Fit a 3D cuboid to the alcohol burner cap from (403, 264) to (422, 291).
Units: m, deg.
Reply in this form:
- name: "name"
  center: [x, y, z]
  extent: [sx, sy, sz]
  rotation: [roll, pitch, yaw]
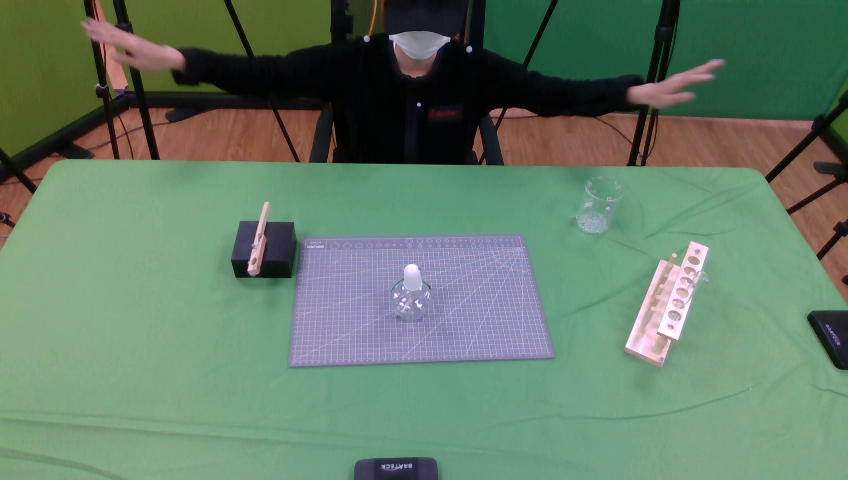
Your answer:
- name: "alcohol burner cap"
  center: [-0.021, 0.060, 1.021]
  extent: [0.034, 0.048, 0.033]
  rotation: [-2, 47, 2]

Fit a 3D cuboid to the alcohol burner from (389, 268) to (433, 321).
- name: "alcohol burner"
  center: [-0.022, 0.085, 1.046]
  extent: [0.078, 0.119, 0.077]
  rotation: [2, 48, -2]

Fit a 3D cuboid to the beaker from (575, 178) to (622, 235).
- name: "beaker"
  center: [0.356, -0.068, 1.240]
  extent: [0.084, 0.101, 0.073]
  rotation: [-18, 50, -21]

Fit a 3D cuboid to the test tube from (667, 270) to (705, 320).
- name: "test tube"
  center: [0.434, 0.103, 1.020]
  extent: [0.017, 0.151, 0.017]
  rotation: [4, 48, -4]

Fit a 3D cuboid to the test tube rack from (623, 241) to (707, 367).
- name: "test tube rack"
  center: [0.435, 0.104, 1.089]
  extent: [0.066, 0.085, 0.242]
  rotation: [24, 49, 19]

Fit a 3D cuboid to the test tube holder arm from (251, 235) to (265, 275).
- name: "test tube holder arm"
  center: [-0.297, 0.025, 1.085]
  extent: [0.010, 0.015, 0.087]
  rotation: [-5, 46, 2]

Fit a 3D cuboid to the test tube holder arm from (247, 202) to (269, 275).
- name: "test tube holder arm"
  center: [-0.304, -0.006, 1.116]
  extent: [0.013, 0.015, 0.177]
  rotation: [-5, 46, 2]
